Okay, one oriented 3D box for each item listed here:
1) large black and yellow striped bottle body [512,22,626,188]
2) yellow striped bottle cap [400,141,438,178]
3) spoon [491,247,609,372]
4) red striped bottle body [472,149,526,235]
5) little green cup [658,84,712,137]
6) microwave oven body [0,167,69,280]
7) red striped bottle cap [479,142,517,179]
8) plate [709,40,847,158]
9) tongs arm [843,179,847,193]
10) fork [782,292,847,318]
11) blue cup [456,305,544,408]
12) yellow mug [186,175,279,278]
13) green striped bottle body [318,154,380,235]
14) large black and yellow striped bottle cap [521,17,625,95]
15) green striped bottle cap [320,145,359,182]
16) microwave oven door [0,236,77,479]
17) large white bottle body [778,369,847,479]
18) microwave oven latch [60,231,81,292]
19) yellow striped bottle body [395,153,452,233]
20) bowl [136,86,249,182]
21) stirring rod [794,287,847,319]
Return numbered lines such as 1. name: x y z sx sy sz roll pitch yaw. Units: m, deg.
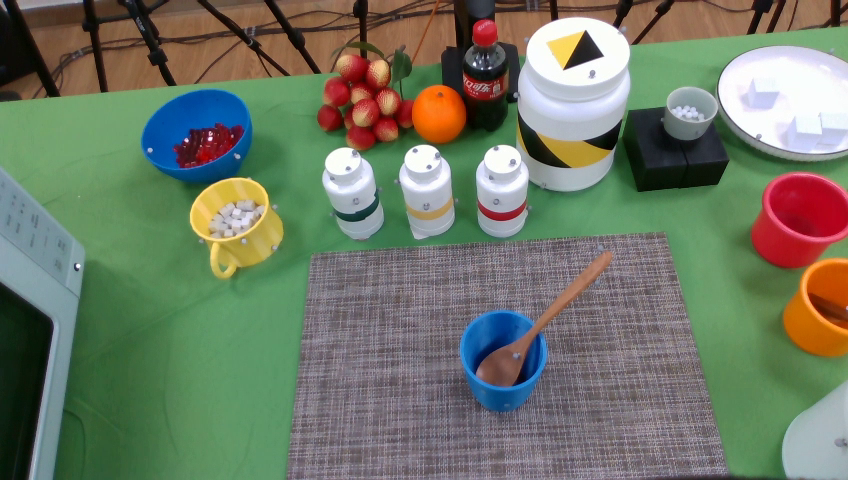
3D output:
1. large black and yellow striped bottle body: 0.178 -0.168 0.761 0.131 0.185 0.129 -3 57 5
2. yellow striped bottle cap: -0.006 -0.095 0.710 0.044 0.019 0.044 -2 59 4
3. spoon: 0.112 0.080 0.590 0.194 0.022 0.041 -53 53 25
4. red striped bottle body: 0.093 -0.063 0.742 0.063 0.121 0.062 -5 55 8
5. little green cup: 0.328 -0.162 0.768 0.061 0.039 0.061 -2 56 4
6. microwave oven body: -0.581 0.152 0.590 0.326 0.262 0.437 -11 58 -2
7. red striped bottle cap: 0.086 -0.092 0.698 0.044 0.018 0.044 0 56 1
8. plate: 0.496 -0.189 0.827 0.209 0.038 0.207 -3 58 4
9. tongs arm: 0.585 0.078 0.650 0.051 0.027 0.380 -11 58 -6
10. fork: 0.458 0.075 0.597 0.028 0.019 0.206 -34 16 -20
11. blue cup: 0.077 0.129 0.628 0.092 0.101 0.092 -2 56 3
12. yellow mug: -0.249 -0.013 0.778 0.100 0.064 0.130 5 59 8
13. green striped bottle body: -0.094 -0.063 0.762 0.063 0.120 0.062 -3 57 4
14. large black and yellow striped bottle cap: 0.169 -0.212 0.690 0.115 0.019 0.114 -3 56 5
15. green striped bottle cap: -0.100 -0.091 0.718 0.044 0.020 0.044 -2 56 4
16. microwave oven door: -0.430 0.153 0.567 0.039 0.246 0.352 -12 57 -1
17. large white bottle body: 0.406 0.172 0.520 0.130 0.186 0.129 -3 57 5
18. microwave oven latch: -0.458 0.029 0.770 0.030 0.030 0.078 -11 58 -2
19. yellow striped bottle body: -0.001 -0.067 0.754 0.063 0.121 0.062 -3 57 5
20. bowl: -0.312 -0.136 0.856 0.151 0.077 0.150 -2 58 4
21. stirring rod: 0.431 0.077 0.605 0.014 0.006 0.175 -10 14 0
